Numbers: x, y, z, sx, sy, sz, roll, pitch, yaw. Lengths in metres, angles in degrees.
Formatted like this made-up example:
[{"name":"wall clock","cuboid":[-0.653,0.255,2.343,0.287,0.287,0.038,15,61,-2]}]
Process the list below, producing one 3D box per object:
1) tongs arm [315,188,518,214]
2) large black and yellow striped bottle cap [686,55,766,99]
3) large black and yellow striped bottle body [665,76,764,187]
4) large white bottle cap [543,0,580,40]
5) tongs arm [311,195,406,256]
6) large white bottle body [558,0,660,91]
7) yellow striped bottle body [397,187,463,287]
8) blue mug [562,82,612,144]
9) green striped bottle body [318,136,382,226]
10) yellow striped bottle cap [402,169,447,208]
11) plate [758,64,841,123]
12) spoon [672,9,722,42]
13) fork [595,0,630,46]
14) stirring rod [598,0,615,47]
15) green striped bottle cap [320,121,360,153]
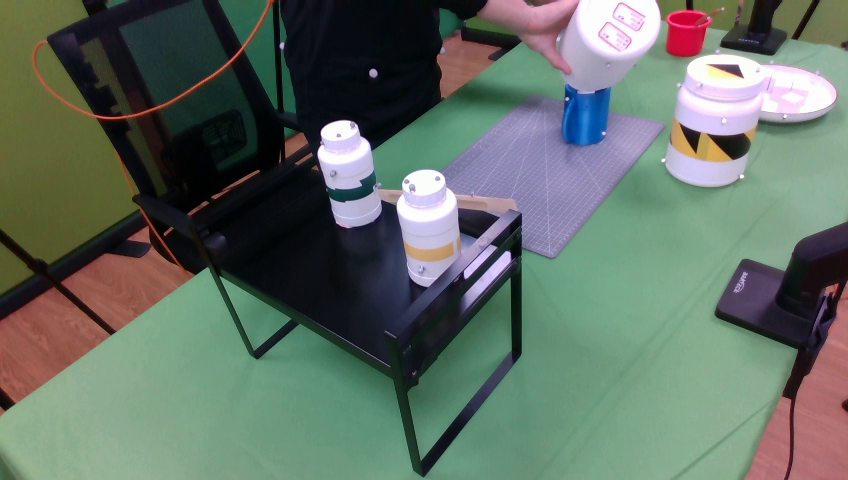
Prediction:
[{"name":"tongs arm","cuboid":[-0.028,-0.060,0.988,0.382,0.027,0.051,9,45,36]},{"name":"large black and yellow striped bottle cap","cuboid":[0.474,-0.258,0.952,0.115,0.019,0.114,-5,41,5]},{"name":"large black and yellow striped bottle body","cuboid":[0.482,-0.196,1.008,0.131,0.185,0.130,-4,41,4]},{"name":"large white bottle cap","cuboid":[0.294,-0.436,1.202,0.114,0.115,0.018,0,78,9]},{"name":"tongs arm","cuboid":[-0.078,-0.012,0.944,0.028,0.028,0.384,-43,39,-22]},{"name":"large white bottle body","cuboid":[0.298,-0.330,1.010,0.131,0.130,0.184,-8,-4,0]},{"name":"yellow striped bottle body","cuboid":[0.007,-0.013,0.638,0.063,0.121,0.062,-5,41,4]},{"name":"blue mug","cuboid":[0.298,-0.239,1.143,0.081,0.106,0.117,30,53,36]},{"name":"green striped bottle body","cuboid":[-0.090,-0.081,0.733,0.063,0.120,0.063,-5,41,4]},{"name":"yellow striped bottle cap","cuboid":[0.001,-0.052,0.604,0.044,0.019,0.044,-5,43,5]},{"name":"plate","cuboid":[0.694,-0.283,1.189,0.207,0.039,0.206,-4,40,4]},{"name":"spoon","cuboid":[0.606,-0.476,1.345,0.042,0.021,0.193,-6,-3,-2]},{"name":"fork","cuboid":[0.480,-0.556,1.453,0.028,0.019,0.207,41,103,40]},{"name":"stirring rod","cuboid":[0.437,-0.551,1.462,0.014,0.006,0.175,-11,83,1]},{"name":"green striped bottle cap","cuboid":[-0.097,-0.120,0.699,0.044,0.020,0.044,-3,40,3]}]
